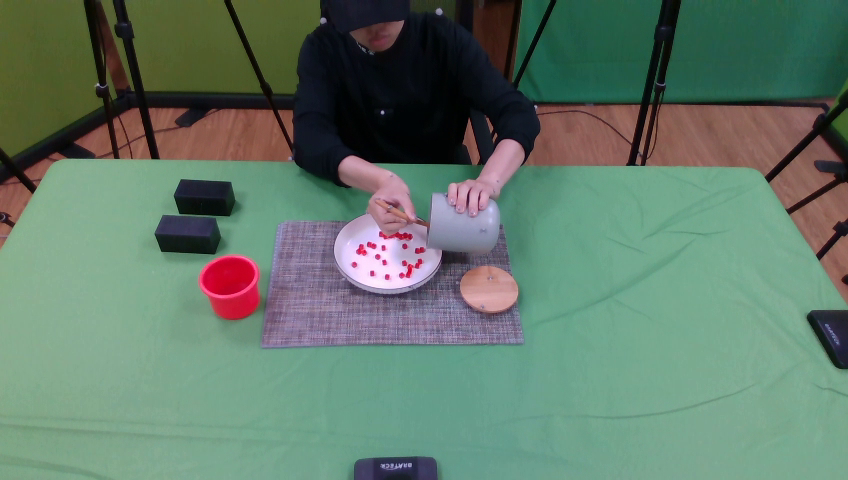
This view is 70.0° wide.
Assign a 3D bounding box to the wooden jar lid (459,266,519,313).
[{"bbox_3d":[0.118,0.093,1.111,0.108,0.021,0.107,1,47,-1],"label":"wooden jar lid"}]

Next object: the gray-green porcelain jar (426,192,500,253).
[{"bbox_3d":[0.071,-0.031,1.110,0.126,0.106,0.105,5,46,-3],"label":"gray-green porcelain jar"}]

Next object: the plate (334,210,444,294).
[{"bbox_3d":[-0.066,0.026,1.150,0.208,0.039,0.206,2,46,-2],"label":"plate"}]

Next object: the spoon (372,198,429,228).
[{"bbox_3d":[-0.011,-0.035,1.099,0.194,0.022,0.041,19,32,-25],"label":"spoon"}]
